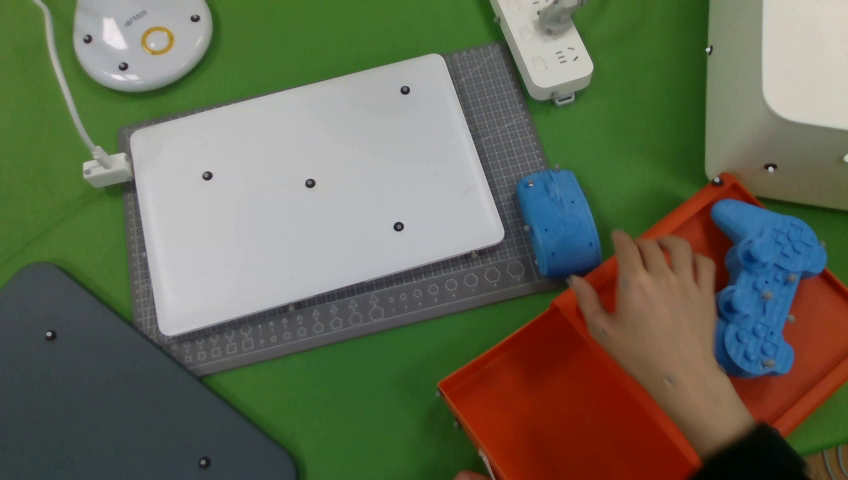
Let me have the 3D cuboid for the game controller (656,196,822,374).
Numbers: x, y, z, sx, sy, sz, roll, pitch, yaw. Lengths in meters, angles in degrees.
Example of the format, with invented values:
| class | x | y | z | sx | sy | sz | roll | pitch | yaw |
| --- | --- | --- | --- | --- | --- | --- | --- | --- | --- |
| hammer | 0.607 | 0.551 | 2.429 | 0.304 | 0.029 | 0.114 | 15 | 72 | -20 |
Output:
| class | x | y | z | sx | sy | sz | roll | pitch | yaw |
| --- | --- | --- | --- | --- | --- | --- | --- | --- | --- |
| game controller | 0.269 | 0.038 | 0.508 | 0.097 | 0.052 | 0.154 | 27 | 74 | 7 |

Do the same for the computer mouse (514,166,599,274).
| class | x | y | z | sx | sy | sz | roll | pitch | yaw |
| --- | --- | --- | --- | --- | --- | --- | --- | --- | --- |
| computer mouse | 0.133 | -0.024 | 0.609 | 0.063 | 0.041 | 0.116 | -11 | 67 | 0 |

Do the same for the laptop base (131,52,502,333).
| class | x | y | z | sx | sy | sz | roll | pitch | yaw |
| --- | --- | --- | --- | --- | --- | --- | --- | --- | --- |
| laptop base | -0.119 | -0.058 | 0.641 | 0.354 | 0.023 | 0.234 | -16 | 74 | -4 |

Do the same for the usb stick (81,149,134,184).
| class | x | y | z | sx | sy | sz | roll | pitch | yaw |
| --- | --- | --- | --- | --- | --- | --- | --- | --- | --- |
| usb stick | -0.326 | -0.078 | 0.640 | 0.059 | 0.027 | 0.021 | -11 | 65 | -6 |

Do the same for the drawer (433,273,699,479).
| class | x | y | z | sx | sy | sz | roll | pitch | yaw |
| --- | --- | --- | --- | --- | --- | --- | --- | --- | --- |
| drawer | 0.146 | 0.149 | 0.529 | 0.212 | 0.074 | 0.193 | -33 | 73 | -10 |

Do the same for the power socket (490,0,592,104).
| class | x | y | z | sx | sy | sz | roll | pitch | yaw |
| --- | --- | --- | --- | --- | --- | --- | --- | --- | --- |
| power socket | 0.123 | -0.260 | 0.698 | 0.072 | 0.033 | 0.225 | -16 | 71 | -6 |

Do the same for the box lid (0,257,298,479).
| class | x | y | z | sx | sy | sz | roll | pitch | yaw |
| --- | --- | --- | --- | --- | --- | --- | --- | --- | --- |
| box lid | -0.329 | 0.205 | 0.558 | 0.370 | 0.015 | 0.262 | 34 | 75 | 12 |

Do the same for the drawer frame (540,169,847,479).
| class | x | y | z | sx | sy | sz | roll | pitch | yaw |
| --- | --- | --- | --- | --- | --- | --- | --- | --- | --- |
| drawer frame | 0.249 | 0.077 | 0.549 | 0.213 | 0.083 | 0.200 | -36 | 72 | -11 |

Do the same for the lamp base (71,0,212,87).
| class | x | y | z | sx | sy | sz | roll | pitch | yaw |
| --- | --- | --- | --- | --- | --- | --- | --- | --- | --- |
| lamp base | -0.343 | -0.281 | 0.641 | 0.178 | 0.181 | 0.160 | 34 | 74 | 16 |

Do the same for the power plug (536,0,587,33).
| class | x | y | z | sx | sy | sz | roll | pitch | yaw |
| --- | --- | --- | --- | --- | --- | --- | --- | --- | --- |
| power plug | 0.160 | -0.247 | 0.668 | 0.072 | 0.053 | 0.035 | -6 | 69 | -2 |

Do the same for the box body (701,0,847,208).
| class | x | y | z | sx | sy | sz | roll | pitch | yaw |
| --- | --- | --- | --- | --- | --- | --- | --- | --- | --- |
| box body | 0.431 | -0.219 | 0.605 | 0.254 | 0.161 | 0.362 | 9 | 71 | 5 |

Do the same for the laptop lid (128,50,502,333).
| class | x | y | z | sx | sy | sz | roll | pitch | yaw |
| --- | --- | --- | --- | --- | --- | --- | --- | --- | --- |
| laptop lid | -0.119 | -0.060 | 0.629 | 0.357 | 0.013 | 0.240 | -14 | 73 | -3 |
